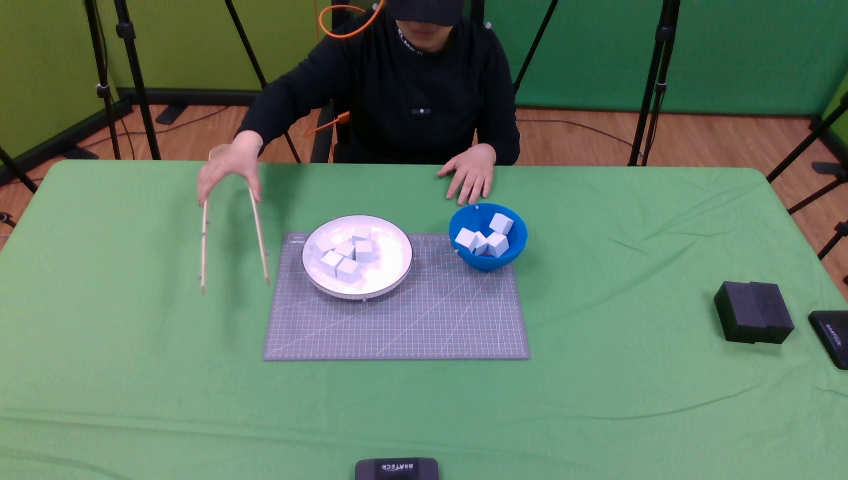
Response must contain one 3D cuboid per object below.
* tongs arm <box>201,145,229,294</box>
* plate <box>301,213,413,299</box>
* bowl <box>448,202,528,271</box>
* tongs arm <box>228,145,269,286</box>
[{"bbox_3d":[-0.380,-0.053,1.112,0.051,0.026,0.382,-8,45,-12],"label":"tongs arm"},{"bbox_3d":[-0.124,0.033,1.143,0.208,0.039,0.206,2,46,-2],"label":"plate"},{"bbox_3d":[0.118,0.006,1.160,0.151,0.077,0.150,2,46,-2],"label":"bowl"},{"bbox_3d":[-0.326,-0.059,1.126,0.028,0.028,0.384,-14,47,-13],"label":"tongs arm"}]
